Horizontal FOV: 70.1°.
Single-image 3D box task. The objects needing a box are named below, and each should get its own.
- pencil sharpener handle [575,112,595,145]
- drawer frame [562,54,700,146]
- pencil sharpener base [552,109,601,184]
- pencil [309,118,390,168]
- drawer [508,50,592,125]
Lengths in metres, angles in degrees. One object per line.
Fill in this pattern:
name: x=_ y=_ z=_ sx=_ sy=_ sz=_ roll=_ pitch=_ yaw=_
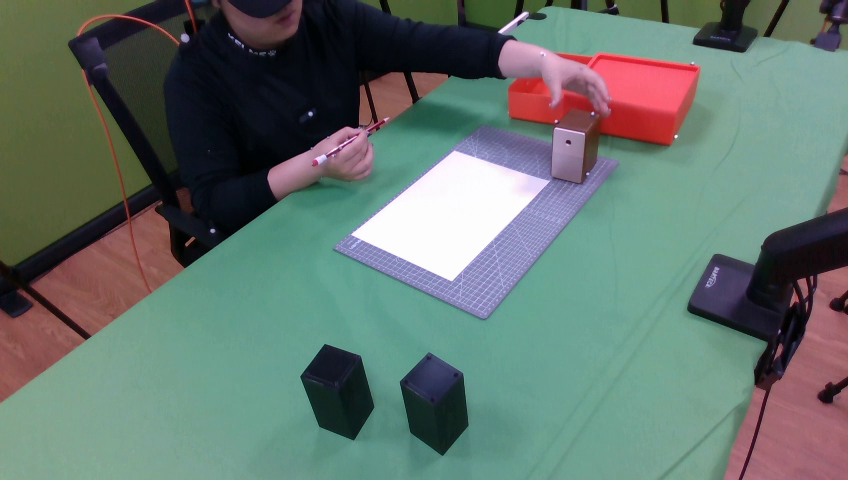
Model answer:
pencil sharpener handle: x=0.290 y=-0.203 z=1.077 sx=0.036 sy=0.068 sz=0.031 roll=20 pitch=47 yaw=25
drawer frame: x=0.407 y=-0.282 z=1.195 sx=0.212 sy=0.083 sz=0.202 roll=17 pitch=45 yaw=25
pencil sharpener base: x=0.265 y=-0.164 z=1.053 sx=0.061 sy=0.107 sz=0.077 roll=18 pitch=46 yaw=28
pencil: x=-0.126 y=-0.174 z=1.061 sx=0.012 sy=0.012 sz=0.195 roll=25 pitch=49 yaw=33
drawer: x=0.305 y=-0.309 z=1.246 sx=0.210 sy=0.073 sz=0.195 roll=16 pitch=45 yaw=25
